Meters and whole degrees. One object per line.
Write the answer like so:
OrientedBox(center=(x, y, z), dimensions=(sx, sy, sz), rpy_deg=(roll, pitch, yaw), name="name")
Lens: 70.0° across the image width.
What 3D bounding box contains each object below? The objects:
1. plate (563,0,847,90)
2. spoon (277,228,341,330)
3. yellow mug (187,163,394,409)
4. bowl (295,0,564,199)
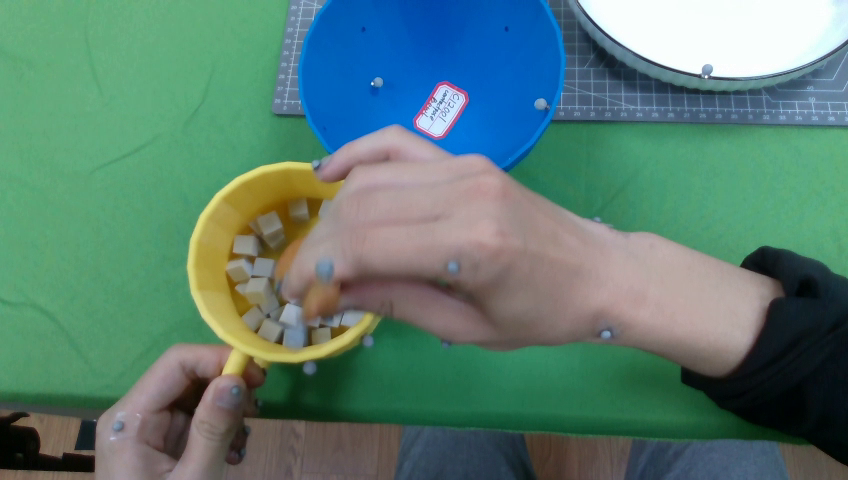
OrientedBox(center=(0.191, -0.187, 0.412), dimensions=(0.209, 0.038, 0.207), rpy_deg=(-1, 71, 4), name="plate")
OrientedBox(center=(-0.046, 0.014, 0.259), dimensions=(0.041, 0.193, 0.022), rpy_deg=(-40, 103, -7), name="spoon")
OrientedBox(center=(-0.073, 0.029, 0.324), dimensions=(0.100, 0.064, 0.130), rpy_deg=(25, 81, 1), name="yellow mug")
OrientedBox(center=(0.006, -0.087, 0.373), dimensions=(0.151, 0.077, 0.150), rpy_deg=(-1, 75, 5), name="bowl")
